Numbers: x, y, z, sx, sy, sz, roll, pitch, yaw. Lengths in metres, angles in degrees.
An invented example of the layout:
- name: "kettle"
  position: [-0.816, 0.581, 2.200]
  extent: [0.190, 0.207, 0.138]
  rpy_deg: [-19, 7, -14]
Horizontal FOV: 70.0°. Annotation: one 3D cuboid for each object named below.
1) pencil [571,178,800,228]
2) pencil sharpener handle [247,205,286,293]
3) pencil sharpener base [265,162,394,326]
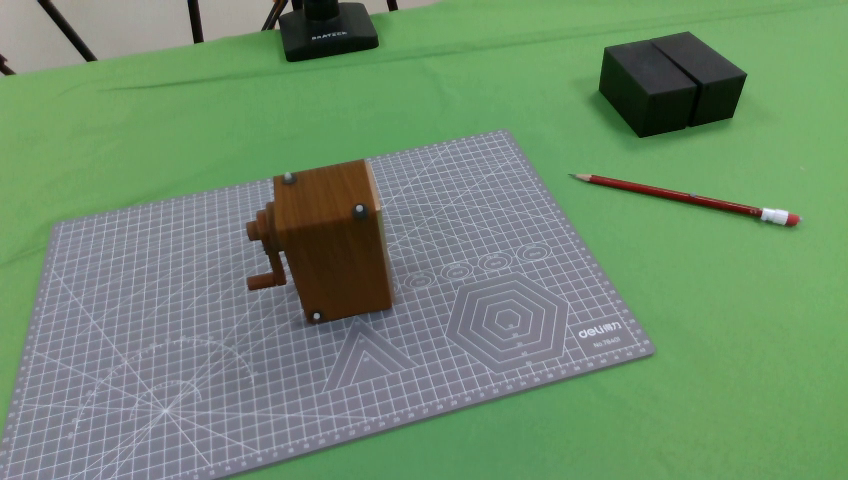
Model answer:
- name: "pencil"
  position: [0.228, -0.036, 0.544]
  extent: [0.193, 0.012, 0.012]
  rpy_deg: [14, 47, 20]
- name: "pencil sharpener handle"
  position: [-0.118, 0.009, 0.433]
  extent: [0.031, 0.068, 0.035]
  rpy_deg: [-12, 34, -6]
- name: "pencil sharpener base"
  position: [-0.068, 0.006, 0.449]
  extent: [0.077, 0.108, 0.060]
  rpy_deg: [-12, 45, -6]
